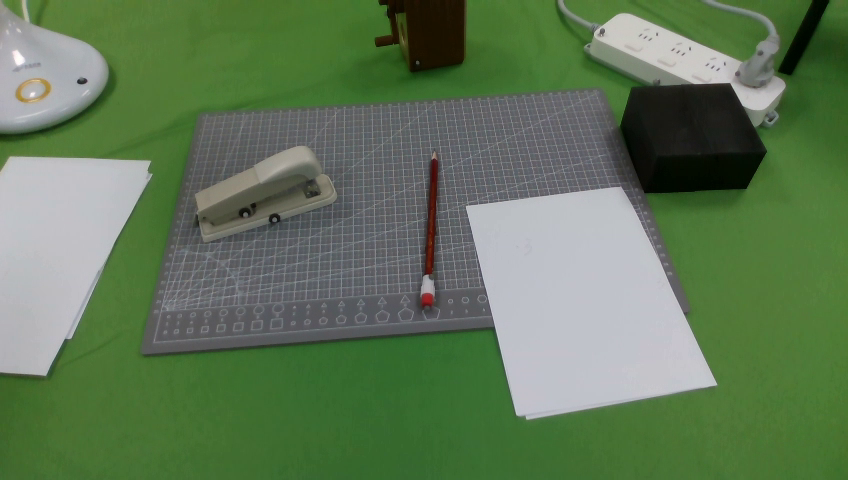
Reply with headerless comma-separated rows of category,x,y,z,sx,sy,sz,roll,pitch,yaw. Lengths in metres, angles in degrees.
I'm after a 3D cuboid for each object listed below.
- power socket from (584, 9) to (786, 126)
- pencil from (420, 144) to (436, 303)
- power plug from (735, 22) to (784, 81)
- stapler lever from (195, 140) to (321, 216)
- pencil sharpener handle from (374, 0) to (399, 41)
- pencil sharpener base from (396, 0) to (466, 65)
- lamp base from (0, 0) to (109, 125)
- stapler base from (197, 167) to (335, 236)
power socket,0.289,-0.198,0.679,0.225,0.033,0.072,37,61,27
pencil,0.005,-0.024,0.563,0.012,0.012,0.192,1,51,3
power plug,0.361,-0.190,0.641,0.072,0.053,0.035,-31,57,-20
stapler lever,-0.152,-0.058,0.553,0.118,0.040,0.026,-19,53,-12
pencil sharpener handle,-0.045,-0.256,0.669,0.031,0.068,0.035,-13,31,-8
pencil sharpener base,0.004,-0.263,0.690,0.077,0.108,0.060,-13,53,-8
lamp base,-0.455,-0.243,0.639,0.161,0.182,0.177,-30,54,-20
stapler base,-0.150,-0.044,0.573,0.131,0.024,0.041,-20,53,-12
